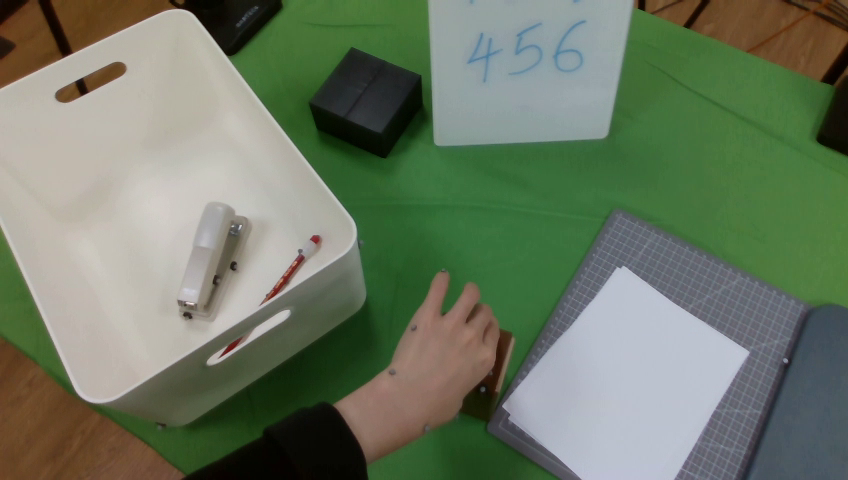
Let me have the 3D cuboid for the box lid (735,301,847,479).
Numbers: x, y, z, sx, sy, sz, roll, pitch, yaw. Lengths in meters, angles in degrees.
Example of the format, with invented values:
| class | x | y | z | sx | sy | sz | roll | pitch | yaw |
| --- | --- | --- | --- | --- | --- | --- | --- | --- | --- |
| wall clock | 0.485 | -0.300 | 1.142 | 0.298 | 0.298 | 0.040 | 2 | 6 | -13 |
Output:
| class | x | y | z | sx | sy | sz | roll | pitch | yaw |
| --- | --- | --- | --- | --- | --- | --- | --- | --- | --- |
| box lid | 0.428 | 0.254 | 0.554 | 0.262 | 0.015 | 0.370 | 29 | 68 | 14 |

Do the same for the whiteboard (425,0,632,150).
| class | x | y | z | sx | sy | sz | roll | pitch | yaw |
| --- | --- | --- | --- | --- | --- | --- | --- | --- | --- |
| whiteboard | 0.111 | -0.276 | 0.697 | 0.217 | 0.308 | 0.142 | -2 | 44 | 1 |

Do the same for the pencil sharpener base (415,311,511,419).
| class | x | y | z | sx | sy | sz | roll | pitch | yaw |
| --- | --- | --- | --- | --- | --- | --- | --- | --- | --- |
| pencil sharpener base | 0.035 | 0.120 | 0.575 | 0.076 | 0.108 | 0.061 | 17 | 64 | 10 |

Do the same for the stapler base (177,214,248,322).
| class | x | y | z | sx | sy | sz | roll | pitch | yaw |
| --- | --- | --- | --- | --- | --- | --- | --- | --- | --- |
| stapler base | -0.235 | 0.024 | 0.669 | 0.041 | 0.024 | 0.129 | 10 | 66 | 8 |

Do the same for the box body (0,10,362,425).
| class | x | y | z | sx | sy | sz | roll | pitch | yaw |
| --- | --- | --- | --- | --- | --- | --- | --- | --- | --- |
| box body | -0.256 | -0.026 | 0.623 | 0.254 | 0.161 | 0.361 | -34 | 67 | -15 |

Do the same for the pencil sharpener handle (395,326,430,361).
| class | x | y | z | sx | sy | sz | roll | pitch | yaw |
| --- | --- | --- | --- | --- | --- | --- | --- | --- | --- |
| pencil sharpener handle | -0.014 | 0.100 | 0.572 | 0.030 | 0.068 | 0.036 | 17 | 64 | 10 |

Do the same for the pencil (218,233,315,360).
| class | x | y | z | sx | sy | sz | roll | pitch | yaw |
| --- | --- | --- | --- | --- | --- | --- | --- | --- | --- |
| pencil | -0.175 | 0.070 | 0.653 | 0.012 | 0.012 | 0.193 | 26 | 67 | 14 |

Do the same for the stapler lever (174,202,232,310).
| class | x | y | z | sx | sy | sz | roll | pitch | yaw |
| --- | --- | --- | --- | --- | --- | --- | --- | --- | --- |
| stapler lever | -0.235 | 0.014 | 0.645 | 0.027 | 0.040 | 0.117 | 10 | 66 | 8 |
